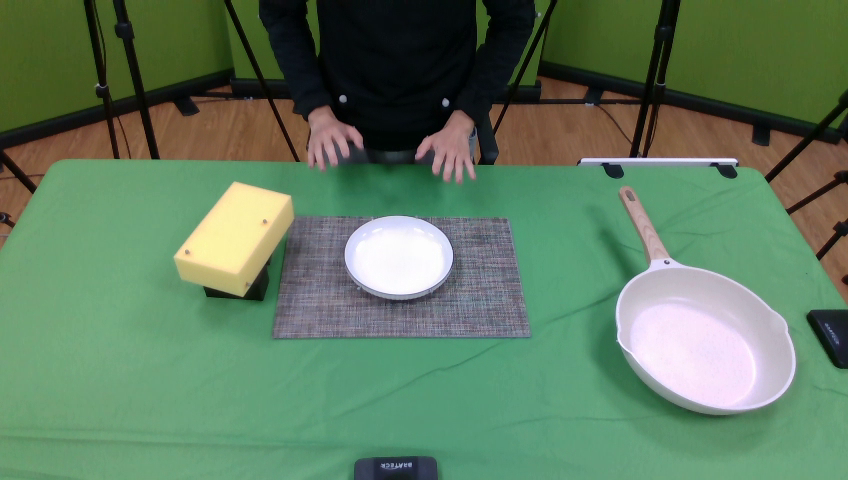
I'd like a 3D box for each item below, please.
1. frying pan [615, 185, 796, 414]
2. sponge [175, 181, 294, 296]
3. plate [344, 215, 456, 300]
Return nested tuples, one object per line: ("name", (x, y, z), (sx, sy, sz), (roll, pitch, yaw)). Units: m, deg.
("frying pan", (0.449, 0.087, 1.092), (0.307, 0.103, 0.484), (-4, 55, -10))
("sponge", (-0.332, -0.007, 1.086), (0.118, 0.061, 0.206), (13, 47, 9))
("plate", (-0.045, 0.036, 1.146), (0.208, 0.039, 0.206), (2, 46, -2))
